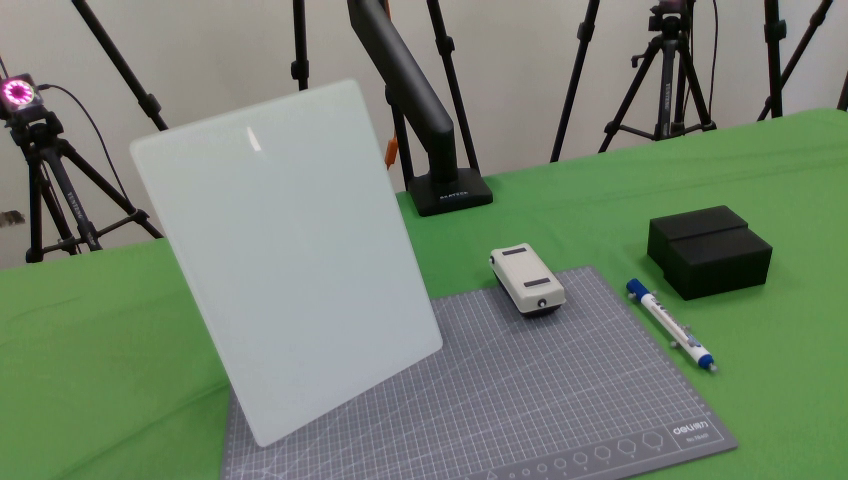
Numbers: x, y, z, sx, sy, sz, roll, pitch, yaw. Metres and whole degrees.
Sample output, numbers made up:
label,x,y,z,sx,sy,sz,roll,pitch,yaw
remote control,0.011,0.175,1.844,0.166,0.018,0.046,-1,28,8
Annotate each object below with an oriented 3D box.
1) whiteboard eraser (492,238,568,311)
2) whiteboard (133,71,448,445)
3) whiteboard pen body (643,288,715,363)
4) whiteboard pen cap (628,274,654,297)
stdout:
label,x,y,z,sx,sy,sz,roll,pitch,yaw
whiteboard eraser,0.124,0.041,0.724,0.056,0.042,0.111,-15,33,-8
whiteboard,-0.138,0.009,0.640,0.217,0.307,0.143,-24,16,-24
whiteboard pen body,0.267,0.084,0.656,0.017,0.017,0.139,-12,32,-8
whiteboard pen cap,0.253,0.054,0.704,0.018,0.018,0.033,-13,31,-8
